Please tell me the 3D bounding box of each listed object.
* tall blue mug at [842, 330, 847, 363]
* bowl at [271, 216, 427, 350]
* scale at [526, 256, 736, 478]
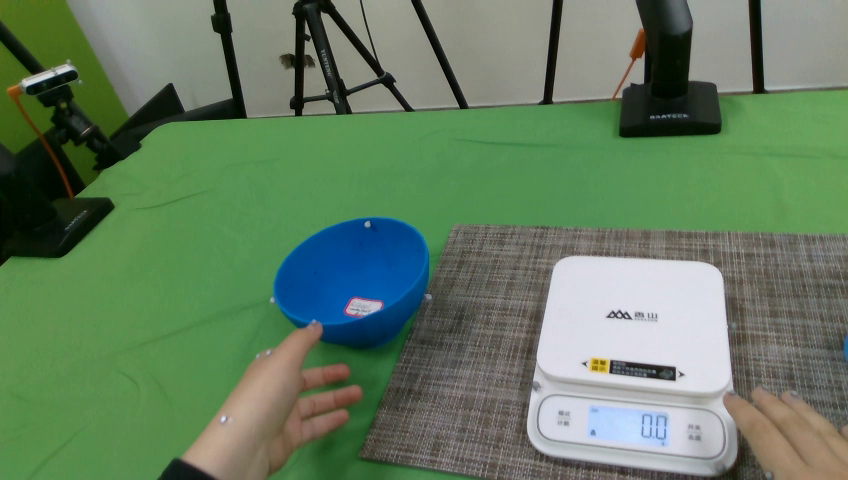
[{"bbox_3d":[0.361,0.057,0.417,0.078,0.109,0.106,-30,41,-20],"label":"tall blue mug"},{"bbox_3d":[-0.063,0.053,0.590,0.151,0.077,0.150,-9,39,7],"label":"bowl"},{"bbox_3d":[0.169,0.091,0.500,0.148,0.032,0.199,1,41,20],"label":"scale"}]
